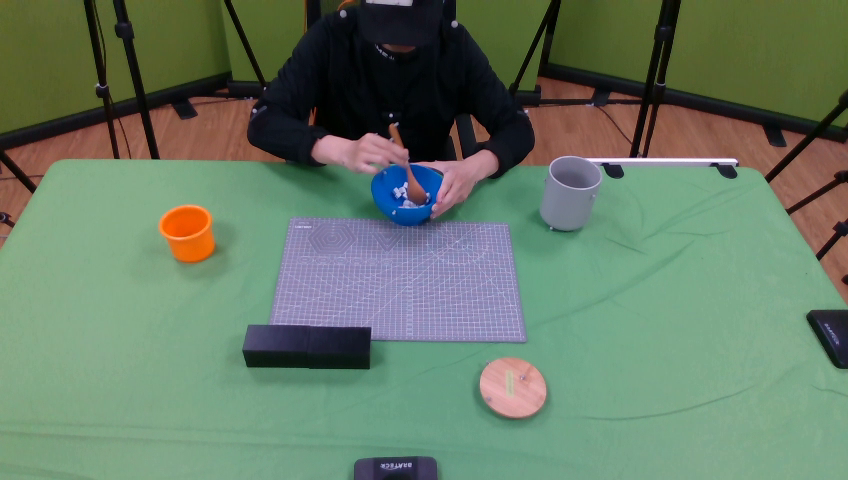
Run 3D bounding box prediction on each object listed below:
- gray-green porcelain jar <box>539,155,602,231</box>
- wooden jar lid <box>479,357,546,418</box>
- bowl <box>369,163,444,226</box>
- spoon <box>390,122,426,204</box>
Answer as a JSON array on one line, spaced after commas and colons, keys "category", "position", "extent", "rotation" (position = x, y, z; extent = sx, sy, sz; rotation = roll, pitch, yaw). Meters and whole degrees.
[{"category": "gray-green porcelain jar", "position": [0.294, -0.091, 1.235], "extent": [0.106, 0.127, 0.105], "rotation": [2, 46, -2]}, {"category": "wooden jar lid", "position": [0.142, 0.240, 0.979], "extent": [0.108, 0.021, 0.107], "rotation": [1, 46, -1]}, {"category": "bowl", "position": [-0.036, -0.082, 1.232], "extent": [0.151, 0.077, 0.150], "rotation": [2, 43, -1]}, {"category": "spoon", "position": [-0.036, -0.145, 1.175], "extent": [0.041, 0.195, 0.021], "rotation": [-6, 37, 17]}]
